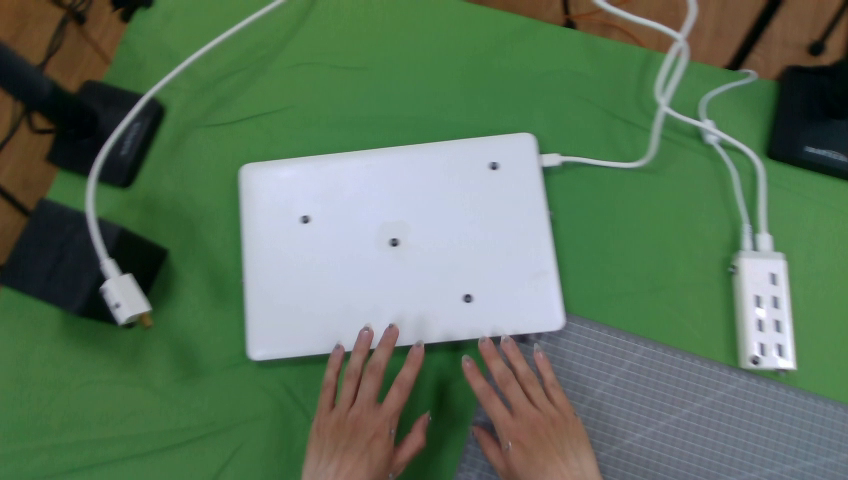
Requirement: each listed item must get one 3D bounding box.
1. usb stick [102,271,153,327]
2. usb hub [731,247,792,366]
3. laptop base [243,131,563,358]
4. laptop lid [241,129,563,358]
[{"bbox_3d":[-0.294,0.062,0.606,0.021,0.027,0.059,-36,85,31],"label":"usb stick"},{"bbox_3d":[0.362,0.071,0.652,0.049,0.025,0.124,3,76,5],"label":"usb hub"},{"bbox_3d":[-0.032,0.002,0.699,0.354,0.023,0.234,-6,78,2],"label":"laptop base"},{"bbox_3d":[-0.033,0.001,0.687,0.357,0.013,0.240,-5,78,3],"label":"laptop lid"}]
